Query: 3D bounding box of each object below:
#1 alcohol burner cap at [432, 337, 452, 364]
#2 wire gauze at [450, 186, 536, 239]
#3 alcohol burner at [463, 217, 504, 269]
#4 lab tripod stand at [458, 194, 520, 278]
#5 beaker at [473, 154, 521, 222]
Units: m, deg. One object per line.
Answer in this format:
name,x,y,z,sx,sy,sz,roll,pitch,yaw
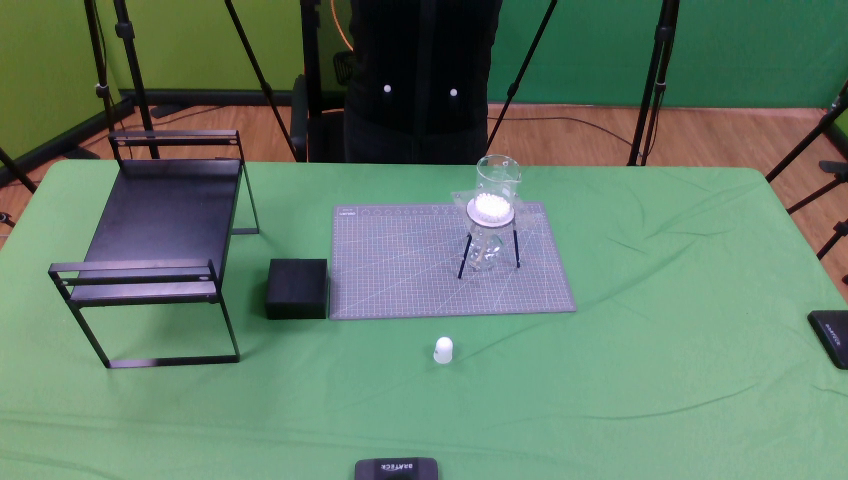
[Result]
alcohol burner cap,0.031,0.182,1.011,0.034,0.048,0.033,4,44,-3
wire gauze,0.122,-0.056,1.088,0.121,0.011,0.124,-10,44,-16
alcohol burner,0.114,0.000,1.139,0.078,0.119,0.077,3,48,-3
lab tripod stand,0.115,-0.011,1.135,0.148,0.132,0.147,1,45,-1
beaker,0.125,-0.087,1.050,0.083,0.101,0.074,29,51,23
